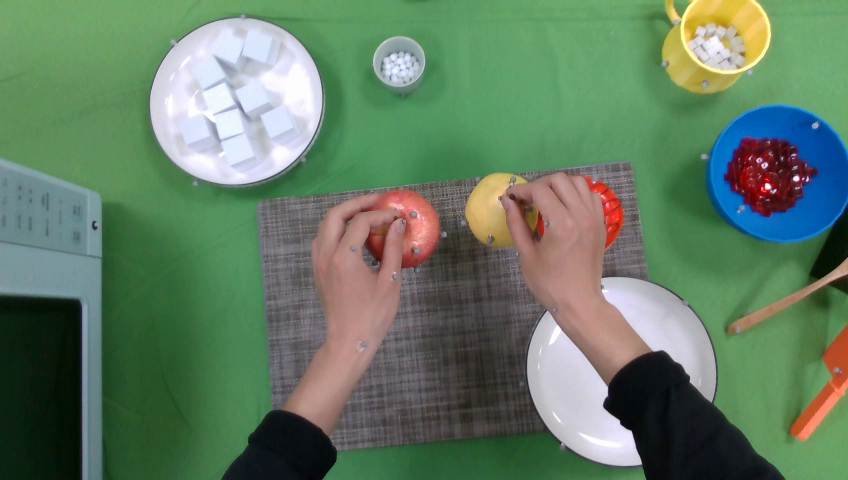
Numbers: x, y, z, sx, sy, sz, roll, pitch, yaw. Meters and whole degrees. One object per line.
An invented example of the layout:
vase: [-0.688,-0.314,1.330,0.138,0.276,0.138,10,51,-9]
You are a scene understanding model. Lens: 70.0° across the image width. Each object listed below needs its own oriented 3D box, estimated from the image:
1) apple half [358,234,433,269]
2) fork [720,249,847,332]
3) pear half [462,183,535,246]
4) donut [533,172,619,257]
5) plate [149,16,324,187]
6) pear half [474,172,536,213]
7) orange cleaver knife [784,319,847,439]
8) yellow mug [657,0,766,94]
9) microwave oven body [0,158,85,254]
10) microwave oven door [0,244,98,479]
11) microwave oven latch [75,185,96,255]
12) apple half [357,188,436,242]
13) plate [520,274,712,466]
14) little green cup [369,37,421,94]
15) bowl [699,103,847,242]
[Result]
apple half: [-0.027,0.014,0.618,0.081,0.081,0.032,2,83,2]
fork: [0.420,0.047,0.661,0.207,0.018,0.028,-36,90,18]
pear half: [0.074,-0.024,0.619,0.076,0.110,0.056,22,81,6]
donut: [0.172,-0.029,0.695,0.099,0.048,0.099,0,85,5]
plate: [-0.221,-0.163,0.729,0.207,0.039,0.207,0,84,2]
pear half: [0.088,-0.055,0.633,0.070,0.088,0.031,19,81,7]
orange cleaver knife: [0.454,0.125,0.654,0.012,0.077,0.212,26,115,3]
yellow mug: [0.321,-0.241,0.705,0.100,0.064,0.130,-38,83,-2]
microwave oven body: [-0.541,0.149,0.590,0.326,0.261,0.440,-3,84,1]
microwave oven door: [-0.394,0.183,0.577,0.039,0.244,0.354,-4,83,2]
microwave oven latch: [-0.399,-0.023,0.701,0.030,0.029,0.079,-1,84,1]
apple half: [-0.026,-0.026,0.620,0.080,0.075,0.053,2,84,12]
plate: [0.211,0.143,0.679,0.209,0.038,0.208,0,84,2]
little green cup: [-0.032,-0.207,0.727,0.061,0.039,0.061,0,83,2]
bowl: [0.374,-0.068,0.679,0.151,0.077,0.151,0,85,2]
